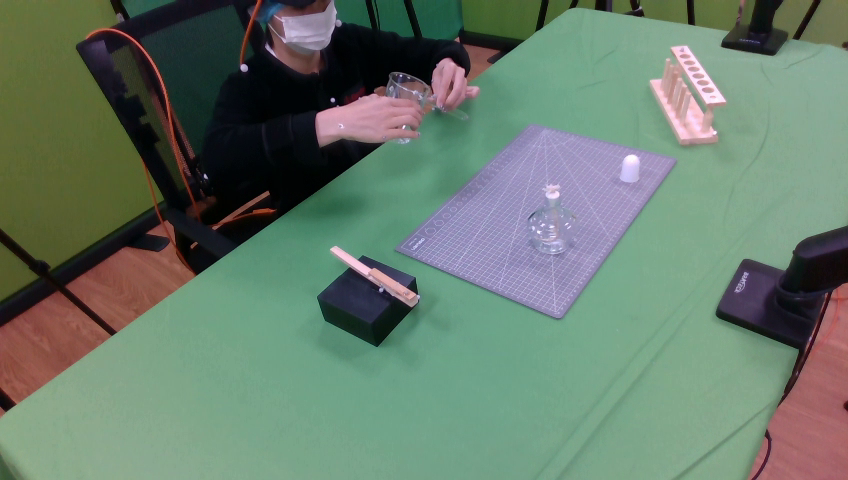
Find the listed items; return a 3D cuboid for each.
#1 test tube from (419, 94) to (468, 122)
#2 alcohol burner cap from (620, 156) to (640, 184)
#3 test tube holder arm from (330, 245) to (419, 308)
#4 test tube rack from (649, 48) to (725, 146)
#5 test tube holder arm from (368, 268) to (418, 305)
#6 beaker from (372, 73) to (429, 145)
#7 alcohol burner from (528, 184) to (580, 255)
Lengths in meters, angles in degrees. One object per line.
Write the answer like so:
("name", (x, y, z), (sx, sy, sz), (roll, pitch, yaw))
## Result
("test tube", (0.039, -0.242, 1.114), (0.017, 0.017, 0.151), (25, 9, 33))
("alcohol burner cap", (0.358, -0.124, 1.047), (0.034, 0.048, 0.033), (-4, 40, 4))
("test tube holder arm", (-0.074, 0.049, 0.857), (0.177, 0.013, 0.015), (30, 53, 36))
("test tube rack", (0.508, -0.285, 1.186), (0.067, 0.085, 0.241), (-4, 40, 6))
("test tube holder arm", (-0.043, 0.063, 0.827), (0.015, 0.010, 0.087), (-37, 47, -29))
("beaker", (-0.039, -0.216, 1.019), (0.073, 0.085, 0.100), (15, 83, 41))
("alcohol burner", (0.196, -0.036, 0.911), (0.078, 0.119, 0.077), (-6, 41, 5))
